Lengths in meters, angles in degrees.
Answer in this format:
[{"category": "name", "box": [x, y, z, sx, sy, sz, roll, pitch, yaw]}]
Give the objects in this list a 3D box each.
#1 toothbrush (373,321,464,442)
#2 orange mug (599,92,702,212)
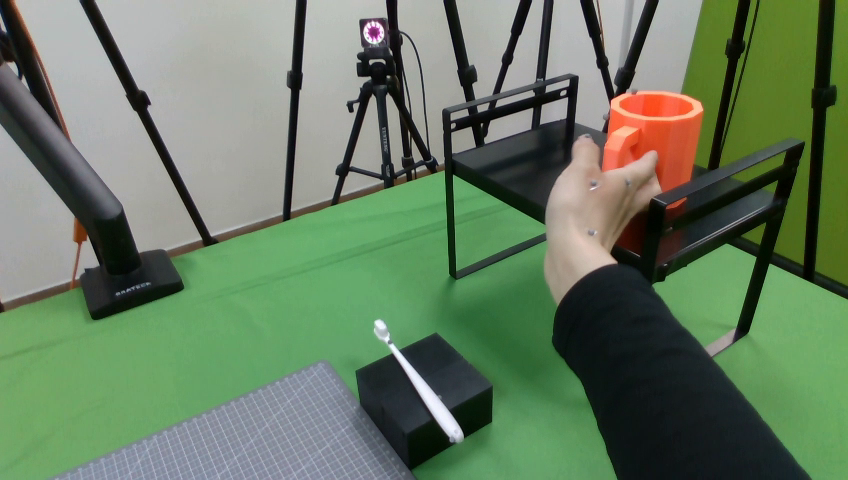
[{"category": "toothbrush", "box": [-0.010, 0.133, 0.596, 0.014, 0.017, 0.180, -14, 33, -24]}, {"category": "orange mug", "box": [0.214, -0.084, 0.601, 0.082, 0.101, 0.126, 24, 37, 37]}]
